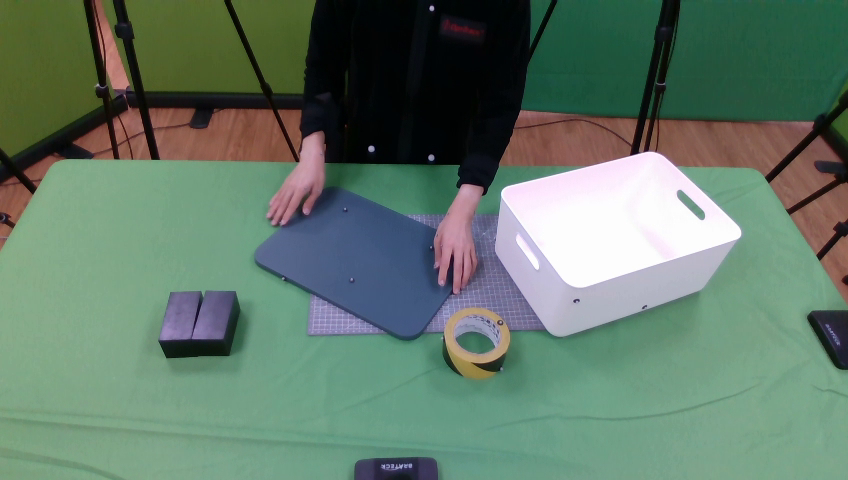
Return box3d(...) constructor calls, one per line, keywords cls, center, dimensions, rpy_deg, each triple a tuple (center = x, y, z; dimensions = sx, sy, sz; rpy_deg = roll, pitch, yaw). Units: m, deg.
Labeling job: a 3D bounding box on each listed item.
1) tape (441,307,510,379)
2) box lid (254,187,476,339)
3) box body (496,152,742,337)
box3d(cls="tape", center=(0.087, 0.172, 1.014), dimensions=(0.117, 0.053, 0.116), rpy_deg=(2, 48, -2))
box3d(cls="box lid", center=(-0.112, 0.028, 1.168), dimensions=(0.370, 0.015, 0.262), rpy_deg=(24, 49, 19))
box3d(cls="box body", center=(0.340, 0.004, 1.118), dimensions=(0.364, 0.161, 0.252), rpy_deg=(-15, 49, -18))
